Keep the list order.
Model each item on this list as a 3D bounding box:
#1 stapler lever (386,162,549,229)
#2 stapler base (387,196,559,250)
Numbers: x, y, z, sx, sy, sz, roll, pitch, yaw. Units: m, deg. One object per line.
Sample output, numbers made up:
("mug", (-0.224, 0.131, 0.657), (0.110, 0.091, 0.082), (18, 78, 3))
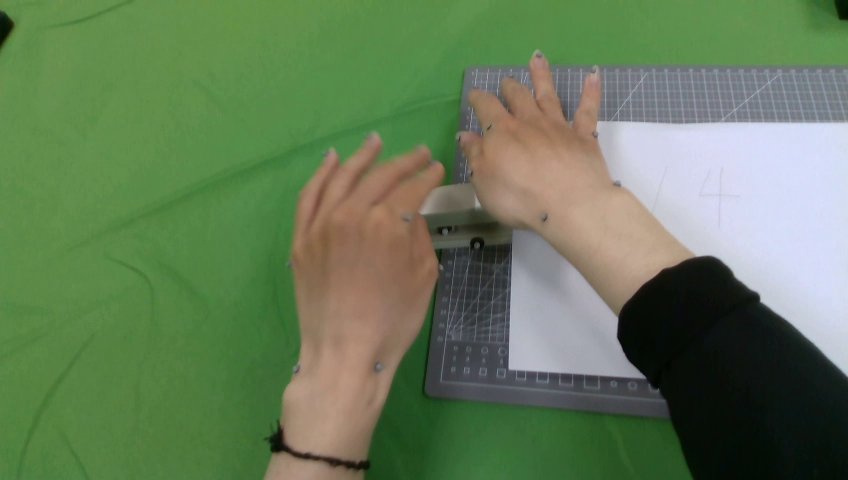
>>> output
("stapler lever", (0.029, -0.031, 0.430), (0.118, 0.040, 0.026), (-5, 57, 8))
("stapler base", (0.034, -0.018, 0.452), (0.130, 0.025, 0.041), (-4, 57, 7))
